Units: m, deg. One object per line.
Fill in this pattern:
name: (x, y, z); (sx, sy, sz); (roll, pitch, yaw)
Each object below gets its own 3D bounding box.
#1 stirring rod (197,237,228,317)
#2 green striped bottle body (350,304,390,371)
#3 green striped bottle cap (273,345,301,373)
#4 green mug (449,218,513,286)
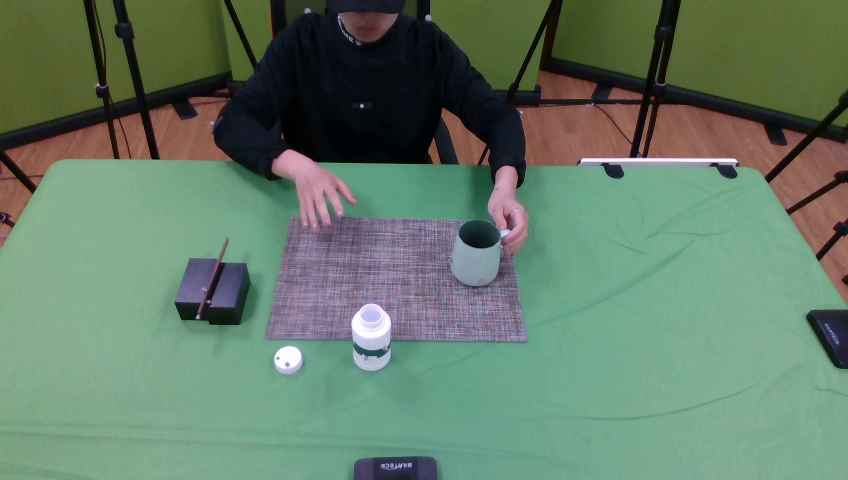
stirring rod: (-0.363, 0.060, 1.047); (0.006, 0.014, 0.175); (7, 46, -3)
green striped bottle body: (-0.086, 0.154, 0.976); (0.063, 0.120, 0.063); (2, 46, -2)
green striped bottle cap: (-0.225, 0.195, 0.997); (0.044, 0.020, 0.044); (1, 50, -1)
green mug: (0.110, 0.018, 1.125); (0.125, 0.105, 0.092); (-19, 50, -21)
